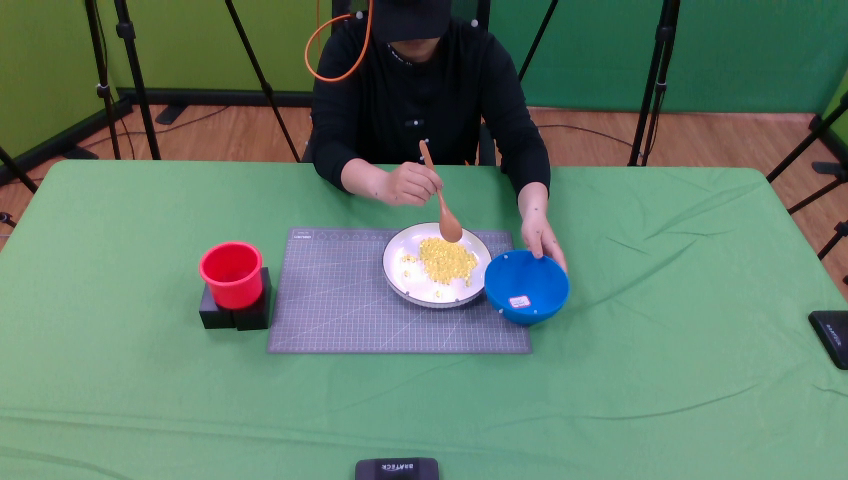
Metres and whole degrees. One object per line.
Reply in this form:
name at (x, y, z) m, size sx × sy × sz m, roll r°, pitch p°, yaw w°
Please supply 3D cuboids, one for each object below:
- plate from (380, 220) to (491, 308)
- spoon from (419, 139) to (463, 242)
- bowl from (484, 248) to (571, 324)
plate at (0.022, 0.048, 1.138) m, size 0.208 × 0.039 × 0.206 m, roll 2°, pitch 46°, yaw -2°
spoon at (0.025, -0.086, 1.075) m, size 0.041 × 0.194 × 0.021 m, roll -16°, pitch 8°, yaw 19°
bowl at (0.177, 0.096, 1.075) m, size 0.151 × 0.077 × 0.150 m, roll 2°, pitch 46°, yaw -2°
